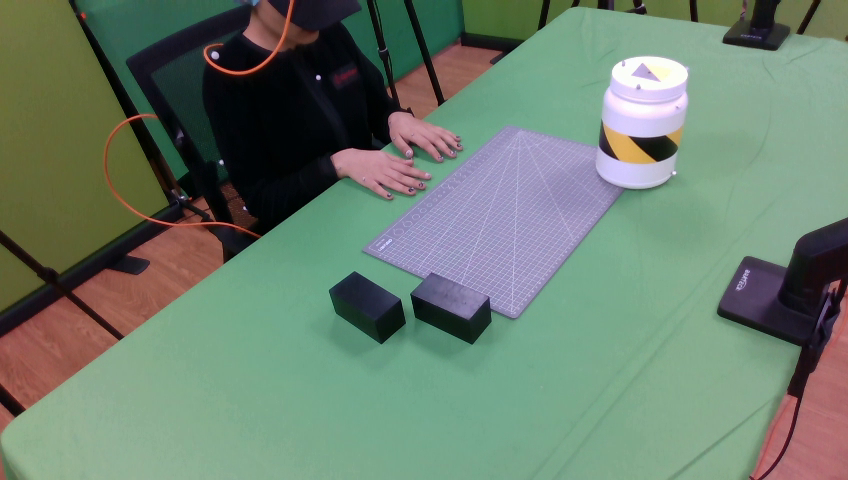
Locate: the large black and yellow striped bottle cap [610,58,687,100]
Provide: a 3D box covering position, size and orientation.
[{"bbox_3d":[0.355,-0.257,0.958,0.115,0.019,0.114,-2,41,3],"label":"large black and yellow striped bottle cap"}]

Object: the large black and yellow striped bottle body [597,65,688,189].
[{"bbox_3d":[0.363,-0.192,1.012,0.131,0.185,0.130,-4,40,4],"label":"large black and yellow striped bottle body"}]
